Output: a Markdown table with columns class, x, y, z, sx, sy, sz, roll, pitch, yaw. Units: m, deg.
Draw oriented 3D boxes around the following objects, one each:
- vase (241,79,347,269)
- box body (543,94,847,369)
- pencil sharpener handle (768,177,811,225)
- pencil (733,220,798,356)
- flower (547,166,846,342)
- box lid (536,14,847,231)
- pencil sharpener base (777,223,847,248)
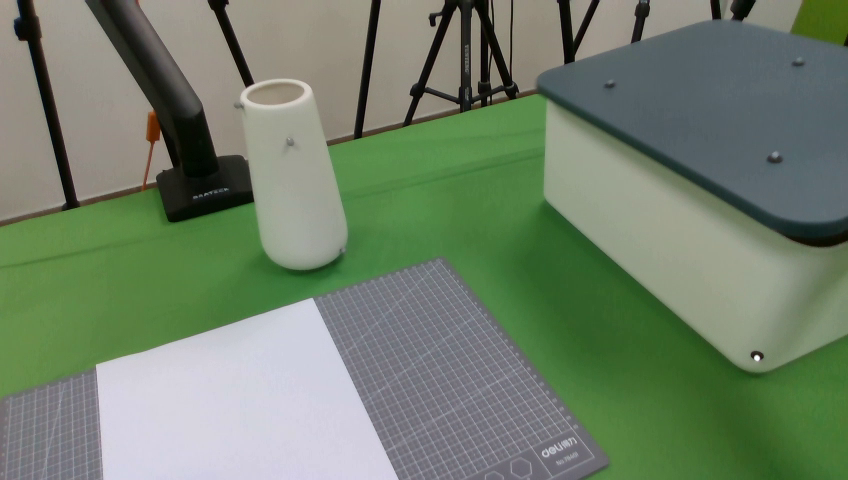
| class | x | y | z | sx | sy | sz | roll | pitch | yaw |
| --- | --- | --- | --- | --- | --- | --- | --- | --- | --- |
| vase | -0.141 | -0.066 | 0.653 | 0.098 | 0.202 | 0.097 | -2 | 37 | 2 |
| box body | 0.322 | -0.059 | 0.653 | 0.255 | 0.162 | 0.359 | -18 | 40 | -19 |
| pencil sharpener handle | 0.383 | -0.044 | 0.642 | 0.036 | 0.068 | 0.030 | -37 | 44 | -9 |
| pencil | 0.360 | 0.044 | 0.642 | 0.012 | 0.012 | 0.192 | 1 | 43 | 5 |
| flower | 0.290 | 0.008 | 0.685 | 0.358 | 0.038 | 0.044 | 36 | 15 | 30 |
| box lid | 0.296 | -0.132 | 0.548 | 0.263 | 0.015 | 0.367 | -21 | 35 | -11 |
| pencil sharpener base | 0.403 | -0.006 | 0.611 | 0.061 | 0.108 | 0.076 | -17 | 38 | -26 |
